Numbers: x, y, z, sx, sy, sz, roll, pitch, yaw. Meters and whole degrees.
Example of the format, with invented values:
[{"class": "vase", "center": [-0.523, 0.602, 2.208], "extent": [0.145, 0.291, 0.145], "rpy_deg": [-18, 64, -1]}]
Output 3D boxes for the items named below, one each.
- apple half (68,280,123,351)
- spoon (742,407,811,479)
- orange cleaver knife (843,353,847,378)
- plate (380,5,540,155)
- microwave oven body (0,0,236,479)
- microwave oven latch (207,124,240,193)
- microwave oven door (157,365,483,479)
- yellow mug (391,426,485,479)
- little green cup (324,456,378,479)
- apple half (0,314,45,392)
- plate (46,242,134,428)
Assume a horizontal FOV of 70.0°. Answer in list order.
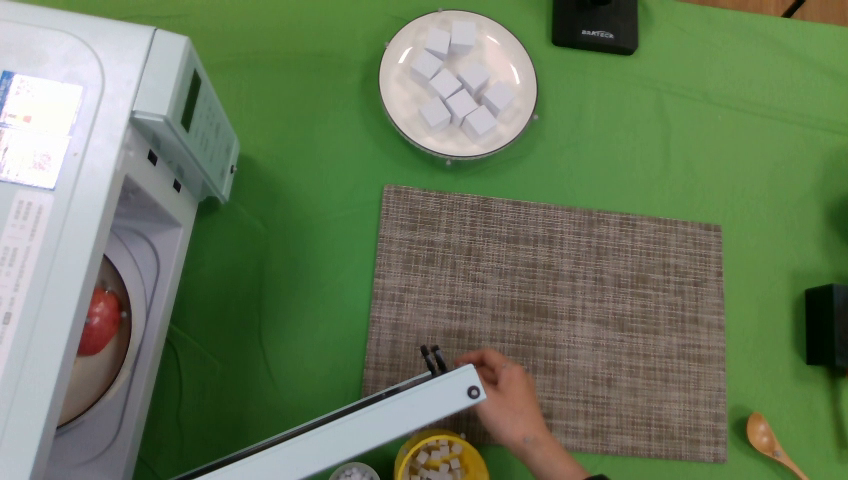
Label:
[{"class": "apple half", "center": [-0.351, 0.074, 0.611], "extent": [0.081, 0.033, 0.081], "rpy_deg": [1, 77, -3]}, {"class": "spoon", "center": [0.453, 0.284, 0.738], "extent": [0.041, 0.022, 0.193], "rpy_deg": [-38, 84, -32]}, {"class": "orange cleaver knife", "center": [0.547, 0.157, 0.746], "extent": [0.012, 0.077, 0.212], "rpy_deg": [8, 100, -1]}, {"class": "plate", "center": [0.046, -0.205, 0.790], "extent": [0.208, 0.039, 0.206], "rpy_deg": [2, 77, -6]}, {"class": "microwave oven body", "center": [-0.400, 0.025, 0.567], "extent": [0.326, 0.261, 0.439], "rpy_deg": [10, 77, -5]}, {"class": "microwave oven latch", "center": [-0.238, -0.098, 0.713], "extent": [0.030, 0.029, 0.079], "rpy_deg": [11, 77, -5]}, {"class": "microwave oven door", "center": [-0.132, 0.195, 0.557], "extent": [0.356, 0.244, 0.039], "rpy_deg": [-20, 80, -11]}, {"class": "yellow mug", "center": [0.009, 0.275, 0.666], "extent": [0.100, 0.064, 0.130], "rpy_deg": [15, 79, 0]}, {"class": "little green cup", "center": [-0.080, 0.269, 0.669], "extent": [0.061, 0.039, 0.061], "rpy_deg": [1, 77, -6]}, {"class": "apple half", "center": [-0.417, 0.108, 0.580], "extent": [0.081, 0.053, 0.074], "rpy_deg": [22, 87, -15]}, {"class": "plate", "center": [-0.397, 0.088, 0.609], "extent": [0.209, 0.038, 0.208], "rpy_deg": [2, 77, -7]}]
